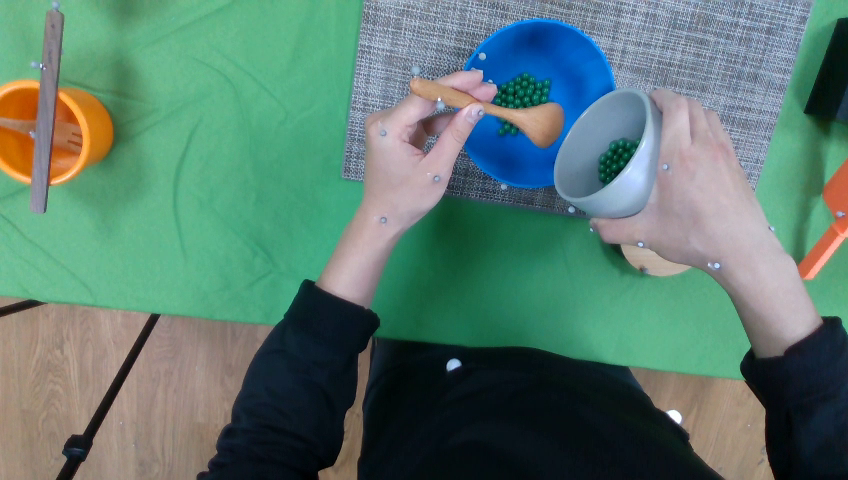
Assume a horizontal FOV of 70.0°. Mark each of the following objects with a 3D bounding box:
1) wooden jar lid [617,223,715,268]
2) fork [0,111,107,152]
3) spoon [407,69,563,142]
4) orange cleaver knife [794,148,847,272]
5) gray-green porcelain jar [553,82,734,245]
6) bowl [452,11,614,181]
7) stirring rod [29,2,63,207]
[{"bbox_3d":[0.264,-0.021,0.664,0.108,0.020,0.109,-1,112,-2],"label":"wooden jar lid"},{"bbox_3d":[-0.378,-0.112,0.515,0.028,0.018,0.209,-51,148,17],"label":"fork"},{"bbox_3d":[0.055,-0.108,0.478,0.195,0.021,0.042,2,113,-43],"label":"spoon"},{"bbox_3d":[0.453,-0.053,0.643,0.012,0.076,0.213,4,136,-9],"label":"orange cleaver knife"},{"bbox_3d":[0.194,-0.060,0.529,0.127,0.105,0.106,25,103,-25],"label":"gray-green porcelain jar"},{"bbox_3d":[0.097,-0.137,0.584,0.151,0.076,0.152,-1,107,-4],"label":"bowl"},{"bbox_3d":[-0.325,-0.112,0.519,0.014,0.006,0.176,12,106,-12],"label":"stirring rod"}]
